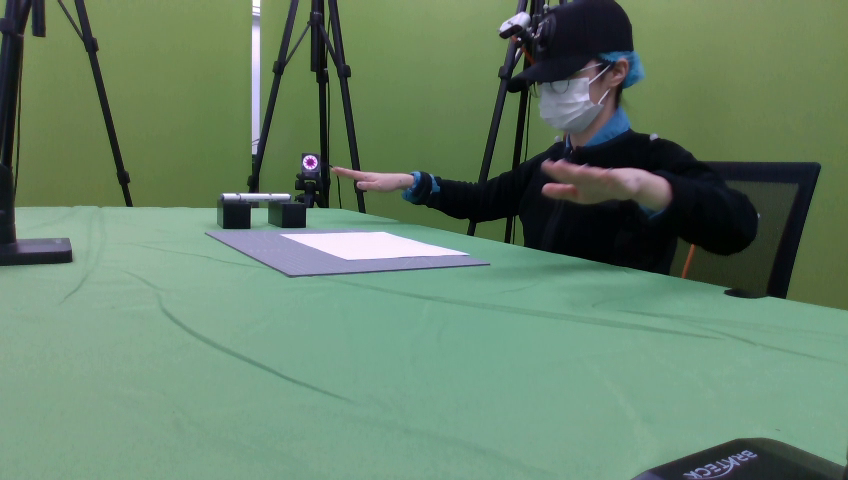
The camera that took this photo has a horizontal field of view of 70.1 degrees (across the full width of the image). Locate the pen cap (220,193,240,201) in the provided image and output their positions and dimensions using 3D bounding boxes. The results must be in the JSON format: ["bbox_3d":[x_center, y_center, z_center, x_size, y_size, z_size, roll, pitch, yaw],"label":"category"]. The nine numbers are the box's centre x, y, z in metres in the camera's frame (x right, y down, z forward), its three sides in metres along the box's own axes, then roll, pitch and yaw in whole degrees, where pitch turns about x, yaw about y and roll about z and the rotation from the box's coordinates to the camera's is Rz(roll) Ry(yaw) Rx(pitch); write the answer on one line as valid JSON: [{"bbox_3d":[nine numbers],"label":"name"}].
[{"bbox_3d":[-0.383,-0.085,1.194,0.039,0.017,0.017,-5,10,-44],"label":"pen cap"}]

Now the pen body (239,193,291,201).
[{"bbox_3d":[-0.337,-0.089,1.236,0.145,0.017,0.017,-5,10,-43],"label":"pen body"}]
